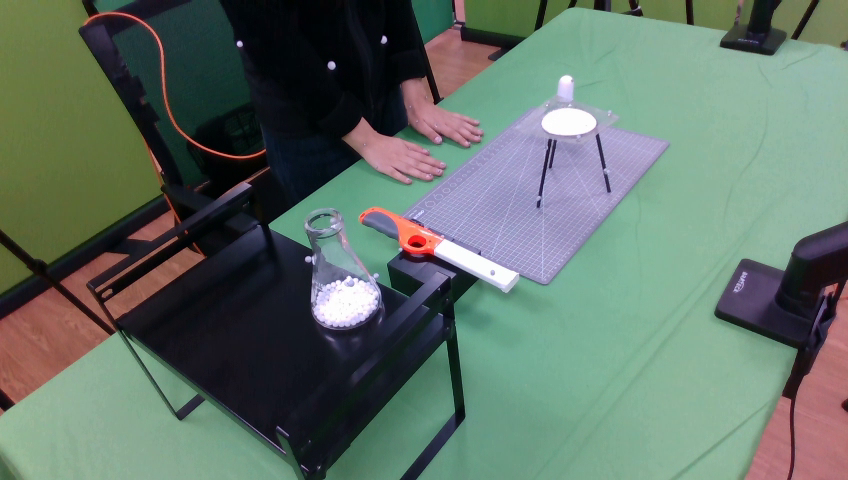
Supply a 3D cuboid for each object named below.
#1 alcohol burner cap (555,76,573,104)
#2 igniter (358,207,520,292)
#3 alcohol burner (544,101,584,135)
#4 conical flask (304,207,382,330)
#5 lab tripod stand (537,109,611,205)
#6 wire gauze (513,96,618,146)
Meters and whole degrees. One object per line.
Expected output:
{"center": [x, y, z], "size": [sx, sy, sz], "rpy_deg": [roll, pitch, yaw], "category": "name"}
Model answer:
{"center": [0.266, -0.285, 1.139], "size": [0.034, 0.048, 0.033], "rpy_deg": [0, 35, 0], "category": "alcohol burner cap"}
{"center": [0.014, 0.008, 0.886], "size": [0.274, 0.025, 0.057], "rpy_deg": [25, 52, 29], "category": "igniter"}
{"center": [0.269, -0.256, 1.161], "size": [0.078, 0.119, 0.077], "rpy_deg": [-5, 38, 5], "category": "alcohol burner"}
{"center": [-0.088, 0.025, 0.601], "size": [0.075, 0.122, 0.075], "rpy_deg": [-5, 40, 5], "category": "conical flask"}
{"center": [0.244, -0.141, 1.014], "size": [0.148, 0.132, 0.147], "rpy_deg": [-3, 39, 3], "category": "lab tripod stand"}
{"center": [0.229, -0.190, 0.969], "size": [0.120, 0.011, 0.125], "rpy_deg": [26, 50, 33], "category": "wire gauze"}
